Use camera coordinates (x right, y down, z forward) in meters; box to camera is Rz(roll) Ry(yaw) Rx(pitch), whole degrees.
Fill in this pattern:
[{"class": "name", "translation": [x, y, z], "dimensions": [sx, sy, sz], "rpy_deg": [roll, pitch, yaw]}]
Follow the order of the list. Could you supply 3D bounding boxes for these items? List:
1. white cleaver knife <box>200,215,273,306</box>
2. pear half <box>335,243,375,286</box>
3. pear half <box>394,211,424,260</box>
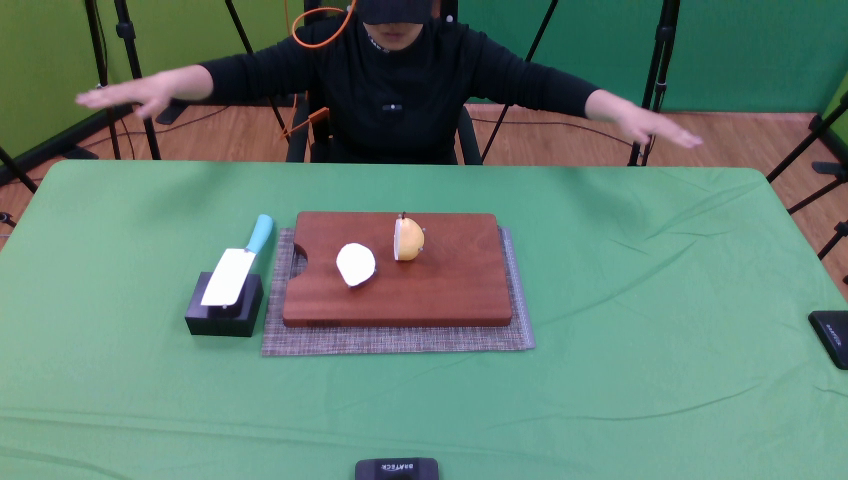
[{"class": "white cleaver knife", "translation": [-0.335, 0.029, 1.101], "dimensions": [0.066, 0.021, 0.285], "rpy_deg": [6, 32, -1]}, {"class": "pear half", "translation": [-0.127, 0.049, 1.093], "dimensions": [0.070, 0.031, 0.087], "rpy_deg": [17, 59, -8]}, {"class": "pear half", "translation": [-0.027, -0.013, 1.109], "dimensions": [0.056, 0.110, 0.076], "rpy_deg": [-7, 51, -10]}]
